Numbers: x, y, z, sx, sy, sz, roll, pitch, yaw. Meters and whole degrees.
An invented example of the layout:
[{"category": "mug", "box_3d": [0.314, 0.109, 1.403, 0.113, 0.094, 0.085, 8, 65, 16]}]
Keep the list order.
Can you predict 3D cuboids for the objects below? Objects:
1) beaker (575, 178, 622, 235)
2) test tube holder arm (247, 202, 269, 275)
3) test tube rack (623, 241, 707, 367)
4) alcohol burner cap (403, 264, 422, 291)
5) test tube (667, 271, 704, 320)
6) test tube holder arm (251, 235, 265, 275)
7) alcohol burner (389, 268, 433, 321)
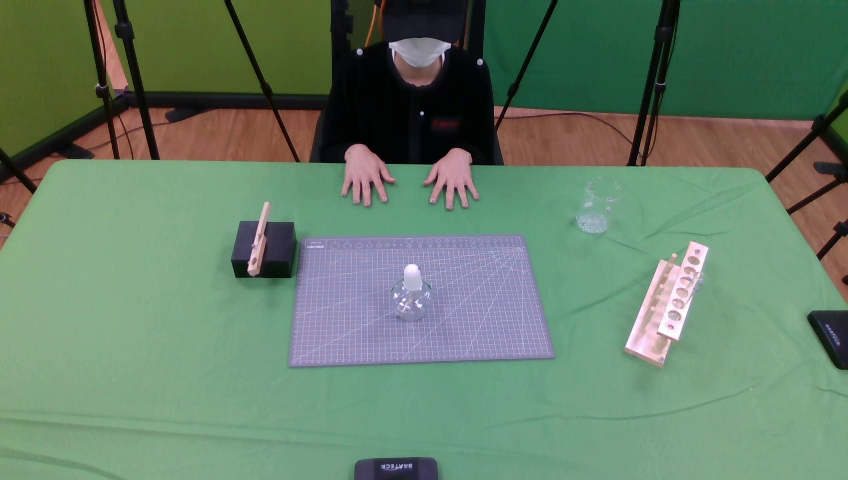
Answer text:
[{"category": "beaker", "box_3d": [0.356, -0.068, 1.240, 0.084, 0.101, 0.073, -18, 50, -21]}, {"category": "test tube holder arm", "box_3d": [-0.304, -0.006, 1.116, 0.013, 0.015, 0.177, -6, 46, 2]}, {"category": "test tube rack", "box_3d": [0.435, 0.104, 1.089, 0.066, 0.085, 0.242, 24, 49, 19]}, {"category": "alcohol burner cap", "box_3d": [-0.021, 0.060, 1.021, 0.034, 0.048, 0.033, -2, 46, 2]}, {"category": "test tube", "box_3d": [0.432, 0.104, 1.019, 0.017, 0.151, 0.017, 3, 48, -3]}, {"category": "test tube holder arm", "box_3d": [-0.297, 0.025, 1.085, 0.010, 0.015, 0.087, -5, 46, 2]}, {"category": "alcohol burner", "box_3d": [-0.022, 0.086, 1.046, 0.078, 0.119, 0.077, 2, 48, -2]}]
